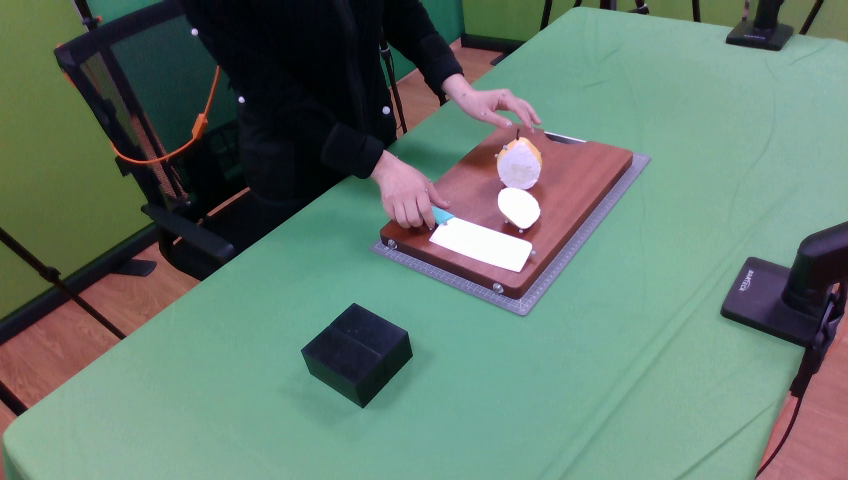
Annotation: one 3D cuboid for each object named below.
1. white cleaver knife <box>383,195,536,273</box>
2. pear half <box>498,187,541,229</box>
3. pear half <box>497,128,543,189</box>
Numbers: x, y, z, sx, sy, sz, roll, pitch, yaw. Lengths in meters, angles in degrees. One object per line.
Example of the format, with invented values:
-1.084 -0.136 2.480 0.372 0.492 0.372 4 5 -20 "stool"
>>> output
0.043 -0.016 0.953 0.284 0.022 0.066 21 59 33 "white cleaver knife"
0.149 -0.045 0.956 0.070 0.031 0.087 4 54 -9 "pear half"
0.162 -0.145 1.014 0.076 0.110 0.056 2 42 8 "pear half"
